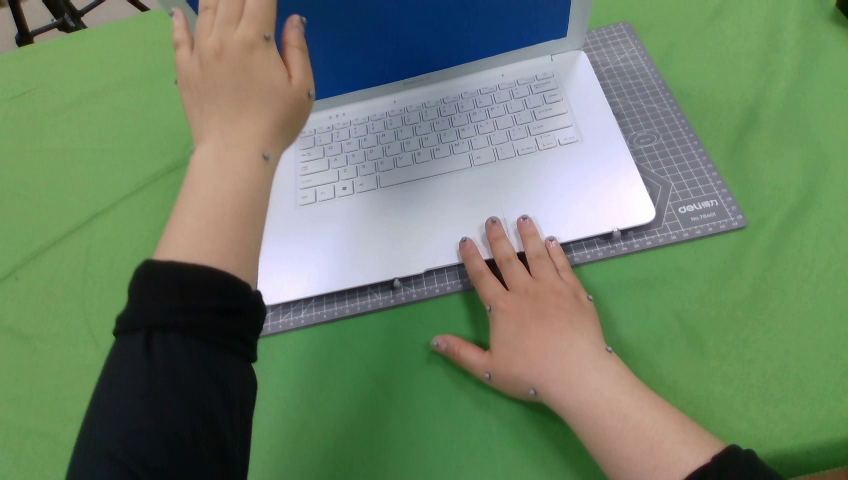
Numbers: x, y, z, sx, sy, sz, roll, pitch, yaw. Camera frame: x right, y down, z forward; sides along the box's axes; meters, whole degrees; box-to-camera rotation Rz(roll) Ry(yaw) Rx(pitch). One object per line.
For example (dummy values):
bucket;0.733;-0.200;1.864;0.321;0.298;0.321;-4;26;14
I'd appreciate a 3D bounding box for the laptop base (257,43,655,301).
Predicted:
laptop base;0.011;-0.073;0.588;0.354;0.023;0.233;-13;56;5

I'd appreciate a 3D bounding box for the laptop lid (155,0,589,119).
laptop lid;-0.023;-0.200;0.542;0.356;0.243;0.013;-13;74;7
